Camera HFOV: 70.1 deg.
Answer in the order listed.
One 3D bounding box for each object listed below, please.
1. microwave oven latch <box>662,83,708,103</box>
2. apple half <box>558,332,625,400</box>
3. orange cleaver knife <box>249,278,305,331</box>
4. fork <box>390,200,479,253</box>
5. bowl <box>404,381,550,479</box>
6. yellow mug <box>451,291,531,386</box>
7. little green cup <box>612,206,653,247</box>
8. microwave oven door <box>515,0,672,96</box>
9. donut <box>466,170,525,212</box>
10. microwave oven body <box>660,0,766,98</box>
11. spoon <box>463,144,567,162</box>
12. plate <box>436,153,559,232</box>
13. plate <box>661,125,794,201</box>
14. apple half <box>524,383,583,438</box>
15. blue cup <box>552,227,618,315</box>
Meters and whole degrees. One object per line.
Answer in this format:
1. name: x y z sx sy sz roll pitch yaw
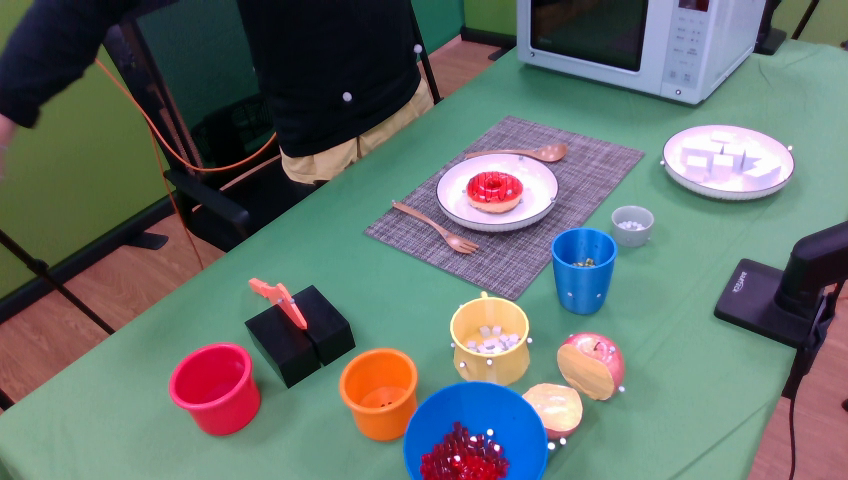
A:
1. microwave oven latch: 0.518 -0.296 1.204 0.078 0.029 0.030 28 52 35
2. apple half: 0.209 0.147 0.731 0.080 0.075 0.053 25 46 38
3. orange cleaver knife: -0.210 0.088 0.856 0.012 0.077 0.210 -28 15 -25
4. fork: 0.011 -0.025 0.998 0.028 0.019 0.205 -40 51 -21
5. bowl: 0.058 0.235 0.645 0.151 0.077 0.150 -4 39 4
6. yellow mug: 0.085 0.120 0.786 0.100 0.064 0.130 -7 39 1
7. little green cup: 0.321 -0.019 0.936 0.061 0.039 0.061 -4 41 4
8. microwave oven door: 0.343 -0.455 1.259 0.353 0.245 0.039 26 51 33
9. donut: 0.121 -0.083 1.019 0.099 0.048 0.098 -4 38 3
10. microwave oven body: 0.472 -0.513 1.317 0.438 0.261 0.327 26 51 34
11. spoon: 0.170 -0.163 1.134 0.193 0.022 0.041 1 61 10
12. plate: 0.125 -0.078 1.029 0.209 0.038 0.208 -4 40 4
13. plate: 0.513 -0.128 1.035 0.207 0.039 0.206 -4 40 4
14. apple half: 0.149 0.204 0.704 0.081 0.033 0.081 -11 25 5
15. blue cup: 0.218 0.047 0.825 0.092 0.100 0.092 -6 39 5
